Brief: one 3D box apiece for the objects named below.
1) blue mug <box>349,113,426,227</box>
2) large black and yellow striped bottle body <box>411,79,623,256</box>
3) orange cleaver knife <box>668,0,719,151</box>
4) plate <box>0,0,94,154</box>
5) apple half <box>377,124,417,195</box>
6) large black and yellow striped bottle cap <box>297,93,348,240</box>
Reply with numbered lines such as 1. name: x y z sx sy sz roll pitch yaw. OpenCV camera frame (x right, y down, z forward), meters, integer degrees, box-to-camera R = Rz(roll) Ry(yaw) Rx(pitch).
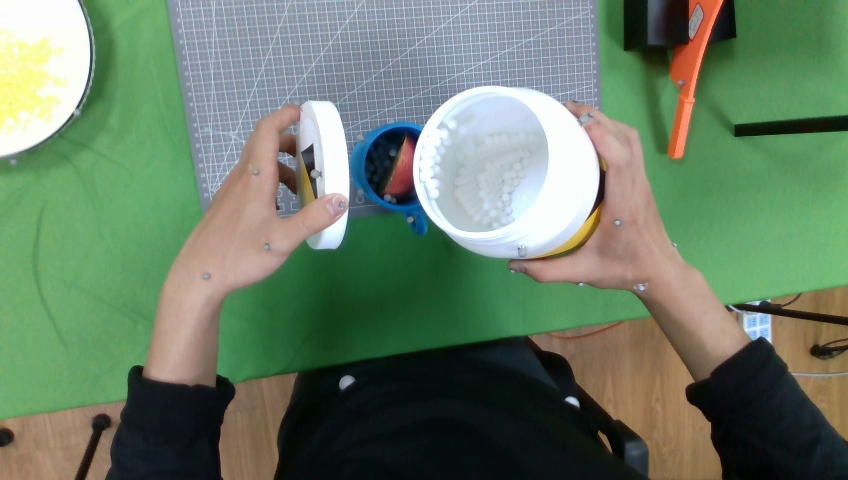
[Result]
1. blue mug: -0.025 -0.067 0.611 0.082 0.105 0.117 -23 103 -8
2. large black and yellow striped bottle body: 0.081 -0.054 0.498 0.130 0.185 0.130 -2 86 29
3. orange cleaver knife: 0.291 -0.204 0.672 0.012 0.076 0.213 -5 127 -2
4. plate: -0.408 -0.182 0.546 0.210 0.038 0.209 -2 100 -11
5. apple half: -0.019 -0.076 0.606 0.033 0.081 0.081 25 93 -7
6. large black and yellow striped bottle cap: -0.081 -0.056 0.473 0.019 0.114 0.115 -5 100 -20
